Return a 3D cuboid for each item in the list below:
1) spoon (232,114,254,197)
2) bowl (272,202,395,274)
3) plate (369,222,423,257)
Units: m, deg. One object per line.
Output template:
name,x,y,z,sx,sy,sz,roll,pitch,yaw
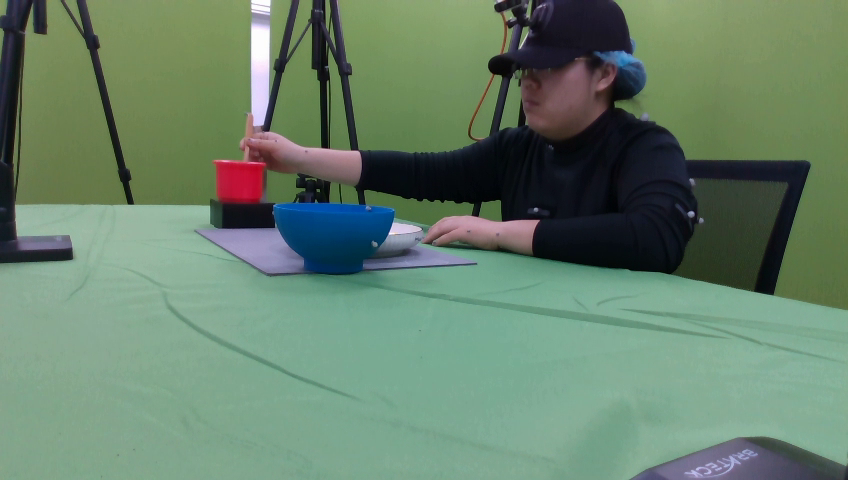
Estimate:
spoon,-0.348,-0.169,1.191,0.042,0.193,0.021,5,-22,-14
bowl,-0.112,-0.003,0.751,0.151,0.077,0.151,3,7,0
plate,-0.105,-0.003,0.922,0.208,0.039,0.207,3,7,0
